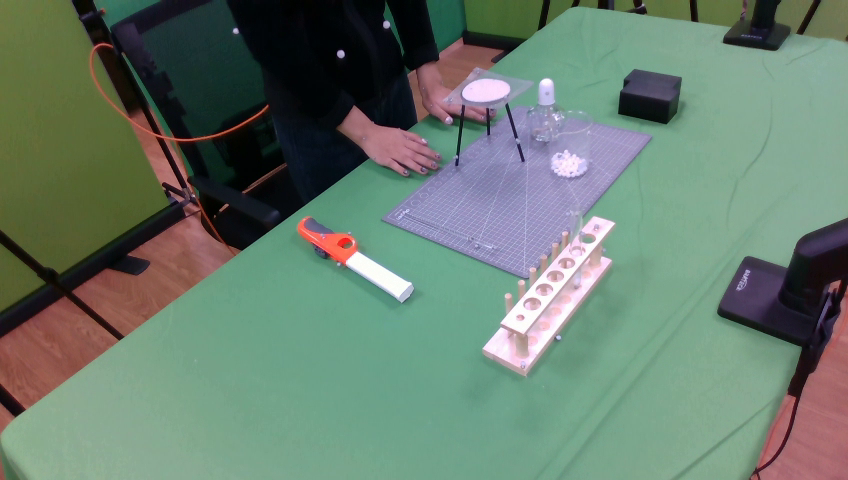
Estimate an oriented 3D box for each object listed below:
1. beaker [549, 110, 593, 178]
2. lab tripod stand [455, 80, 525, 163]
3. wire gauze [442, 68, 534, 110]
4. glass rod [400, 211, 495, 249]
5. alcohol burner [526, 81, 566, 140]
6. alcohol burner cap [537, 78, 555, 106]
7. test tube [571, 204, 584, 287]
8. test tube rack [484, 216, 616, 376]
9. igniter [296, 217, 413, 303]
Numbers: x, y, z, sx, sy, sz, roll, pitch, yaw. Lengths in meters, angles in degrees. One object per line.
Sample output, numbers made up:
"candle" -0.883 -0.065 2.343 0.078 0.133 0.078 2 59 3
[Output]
"beaker" 0.255 -0.165 1.063 0.084 0.101 0.073 -36 46 -27
"lab tripod stand" 0.120 -0.219 1.126 0.148 0.132 0.147 -4 40 4
"wire gauze" 0.114 -0.269 1.081 0.120 0.011 0.125 21 49 29
"glass rod" 0.035 -0.018 1.001 0.198 0.008 0.008 21 49 35
"alcohol burner" 0.235 -0.252 1.159 0.078 0.119 0.077 -4 42 4
"alcohol burner cap" 0.229 -0.279 1.136 0.034 0.048 0.033 -6 33 4
"test tube" 0.205 0.011 0.804 0.017 0.151 0.017 -7 45 8
"test tube rack" 0.174 0.064 0.823 0.066 0.085 0.243 23 49 33
"igniter" -0.121 0.025 0.970 0.274 0.025 0.057 30 63 37
